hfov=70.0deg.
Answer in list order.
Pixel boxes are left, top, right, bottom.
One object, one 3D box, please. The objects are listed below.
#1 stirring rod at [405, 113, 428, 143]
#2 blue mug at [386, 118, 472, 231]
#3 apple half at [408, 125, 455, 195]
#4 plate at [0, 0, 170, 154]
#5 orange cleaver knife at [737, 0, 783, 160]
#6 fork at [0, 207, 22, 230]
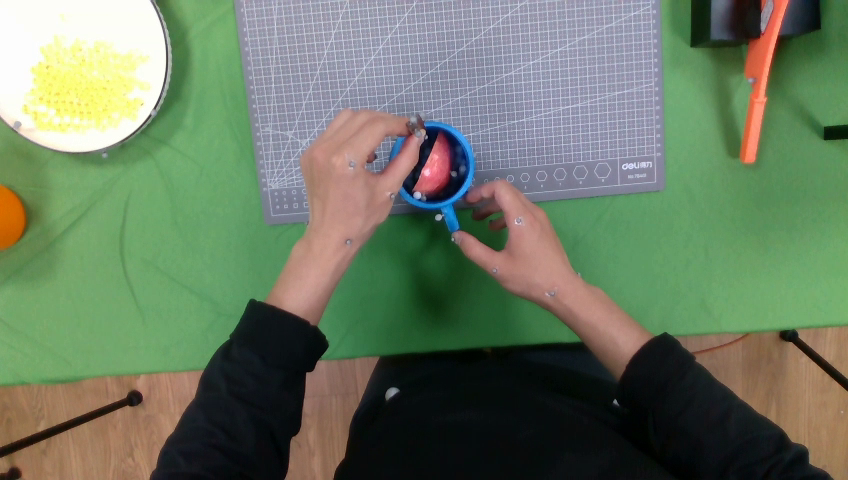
[{"bbox_3d":[-0.005,-0.101,0.557,0.014,0.176,0.006,-40,92,5],"label":"stirring rod"},{"bbox_3d":[0.011,-0.065,0.624,0.082,0.105,0.117,-20,98,3],"label":"blue mug"},{"bbox_3d":[0.015,-0.077,0.611,0.032,0.081,0.081,24,98,8],"label":"apple half"},{"bbox_3d":[-0.370,-0.196,0.641,0.209,0.038,0.209,0,99,1],"label":"plate"},{"bbox_3d":[0.339,-0.186,0.618,0.012,0.076,0.213,-2,125,10],"label":"orange cleaver knife"},{"bbox_3d":[-0.531,-0.030,0.612,0.209,0.018,0.028,5,100,-44],"label":"fork"}]
